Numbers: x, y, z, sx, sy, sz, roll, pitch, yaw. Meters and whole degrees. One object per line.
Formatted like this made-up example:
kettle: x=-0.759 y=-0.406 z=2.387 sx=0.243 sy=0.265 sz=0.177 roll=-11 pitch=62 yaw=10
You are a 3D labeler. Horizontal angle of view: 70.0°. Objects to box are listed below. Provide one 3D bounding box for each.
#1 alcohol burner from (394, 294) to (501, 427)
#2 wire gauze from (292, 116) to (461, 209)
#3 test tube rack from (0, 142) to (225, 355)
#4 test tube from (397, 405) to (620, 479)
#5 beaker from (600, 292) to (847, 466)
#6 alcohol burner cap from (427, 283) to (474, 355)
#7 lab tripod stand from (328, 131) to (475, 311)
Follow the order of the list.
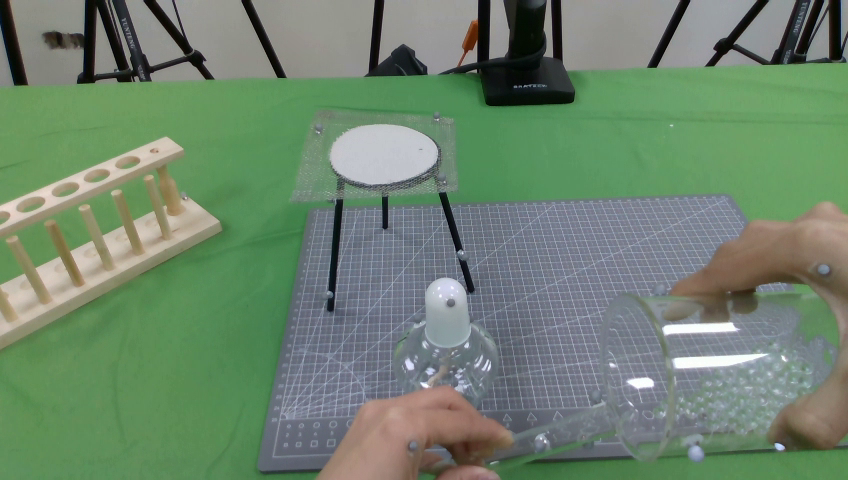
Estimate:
alcohol burner: x=0.017 y=0.077 z=0.426 sx=0.078 sy=0.120 sz=0.077 roll=0 pitch=42 yaw=0
wire gauze: x=-0.033 y=-0.065 z=0.476 sx=0.121 sy=0.011 sz=0.124 roll=1 pitch=41 yaw=0
test tube rack: x=-0.312 y=0.005 z=0.546 sx=0.066 sy=0.086 sz=0.242 roll=32 pitch=50 yaw=33
test tube: x=0.035 y=0.122 z=0.331 sx=0.150 sy=0.017 sz=0.017 roll=-29 pitch=33 yaw=23
beaker: x=0.142 y=0.064 z=0.279 sx=0.100 sy=0.084 sz=0.073 roll=-2 pitch=47 yaw=-5
alcohol burner cap: x=0.017 y=0.050 z=0.403 sx=0.034 sy=0.048 sz=0.033 roll=-2 pitch=40 yaw=2
lab tripod stand: x=-0.024 y=-0.015 z=0.521 sx=0.148 sy=0.132 sz=0.147 roll=0 pitch=39 yaw=0
